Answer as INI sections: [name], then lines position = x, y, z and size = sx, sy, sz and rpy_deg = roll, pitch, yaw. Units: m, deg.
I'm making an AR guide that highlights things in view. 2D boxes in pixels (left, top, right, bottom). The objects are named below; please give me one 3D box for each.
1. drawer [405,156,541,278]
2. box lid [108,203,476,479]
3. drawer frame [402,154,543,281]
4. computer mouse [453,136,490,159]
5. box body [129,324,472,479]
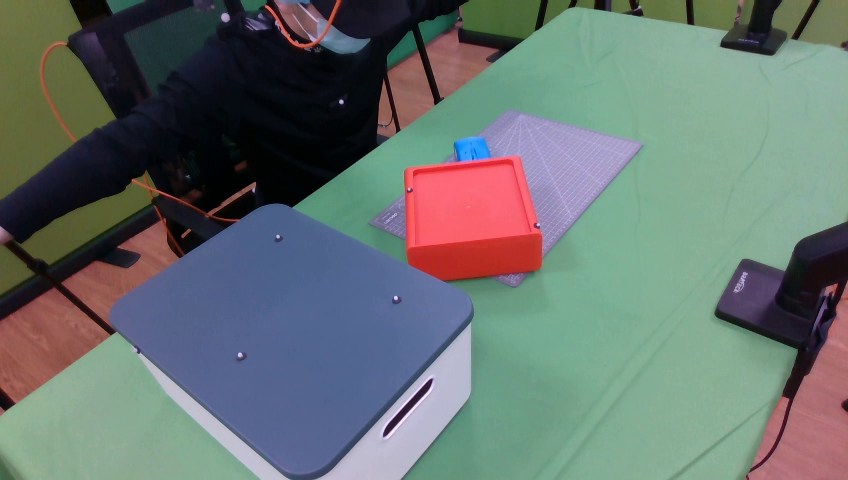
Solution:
[drawer]
position = 0.071, -0.040, 0.961
size = 0.194, 0.073, 0.210
rpy_deg = -5, 41, 1
[box lid]
position = -0.156, 0.079, 0.678
size = 0.368, 0.015, 0.264
rpy_deg = 24, 49, 32
[drawer frame]
position = 0.071, -0.041, 0.958
size = 0.202, 0.083, 0.212
rpy_deg = -6, 41, 1
[computer mouse]
position = 0.091, -0.157, 1.128
size = 0.063, 0.041, 0.116
rpy_deg = -7, 45, -2
[box body]
position = -0.147, 0.136, 0.726
size = 0.361, 0.161, 0.255
rpy_deg = 24, 50, 32
